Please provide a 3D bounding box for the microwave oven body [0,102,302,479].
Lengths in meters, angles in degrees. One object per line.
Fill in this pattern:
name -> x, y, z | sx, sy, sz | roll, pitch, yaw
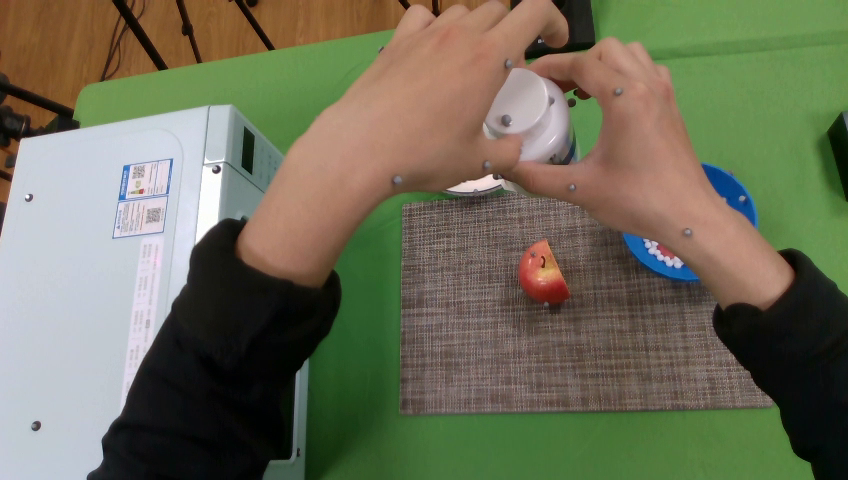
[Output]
microwave oven body -> -0.349, 0.096, 0.780 | 0.325, 0.262, 0.438 | -6, 71, 12

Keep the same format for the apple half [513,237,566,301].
apple half -> 0.143, 0.043, 0.774 | 0.053, 0.075, 0.080 | -25, 71, 9

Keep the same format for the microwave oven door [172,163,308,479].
microwave oven door -> -0.207, 0.117, 0.732 | 0.039, 0.246, 0.353 | -7, 70, 13

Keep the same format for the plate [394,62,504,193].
plate -> 0.061, -0.160, 0.887 | 0.207, 0.039, 0.206 | -4, 71, 13

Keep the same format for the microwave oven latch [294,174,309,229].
microwave oven latch -> -0.187, -0.056, 0.895 | 0.030, 0.030, 0.078 | -8, 71, 11

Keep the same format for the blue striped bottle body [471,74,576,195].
blue striped bottle body -> 0.072, -0.076, 0.433 | 0.063, 0.121, 0.063 | -3, 79, 19

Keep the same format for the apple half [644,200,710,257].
apple half -> 0.312, -0.018, 0.743 | 0.081, 0.033, 0.080 | -5, 69, 13

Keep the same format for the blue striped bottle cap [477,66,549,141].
blue striped bottle cap -> 0.056, -0.087, 0.383 | 0.044, 0.021, 0.044 | -3, 81, 19

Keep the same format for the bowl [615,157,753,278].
bowl -> 0.312, -0.017, 0.748 | 0.151, 0.077, 0.150 | -5, 71, 14
